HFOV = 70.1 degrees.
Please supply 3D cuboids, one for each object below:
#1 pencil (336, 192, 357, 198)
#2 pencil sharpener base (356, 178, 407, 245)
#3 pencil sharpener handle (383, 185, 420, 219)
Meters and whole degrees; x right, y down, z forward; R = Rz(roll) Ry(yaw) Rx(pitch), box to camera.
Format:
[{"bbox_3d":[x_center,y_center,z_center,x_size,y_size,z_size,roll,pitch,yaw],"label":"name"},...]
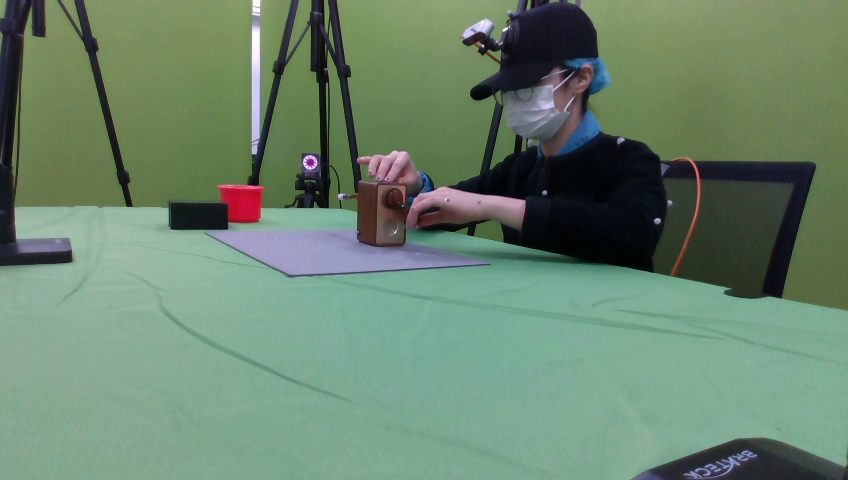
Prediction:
[{"bbox_3d":[-0.120,-0.082,1.100,0.012,0.012,0.193,-2,4,-30],"label":"pencil"},{"bbox_3d":[-0.071,-0.049,1.018,0.062,0.107,0.076,-2,9,-33],"label":"pencil sharpener base"},{"bbox_3d":[-0.034,-0.060,0.979,0.068,0.036,0.030,47,-18,-29],"label":"pencil sharpener handle"}]
